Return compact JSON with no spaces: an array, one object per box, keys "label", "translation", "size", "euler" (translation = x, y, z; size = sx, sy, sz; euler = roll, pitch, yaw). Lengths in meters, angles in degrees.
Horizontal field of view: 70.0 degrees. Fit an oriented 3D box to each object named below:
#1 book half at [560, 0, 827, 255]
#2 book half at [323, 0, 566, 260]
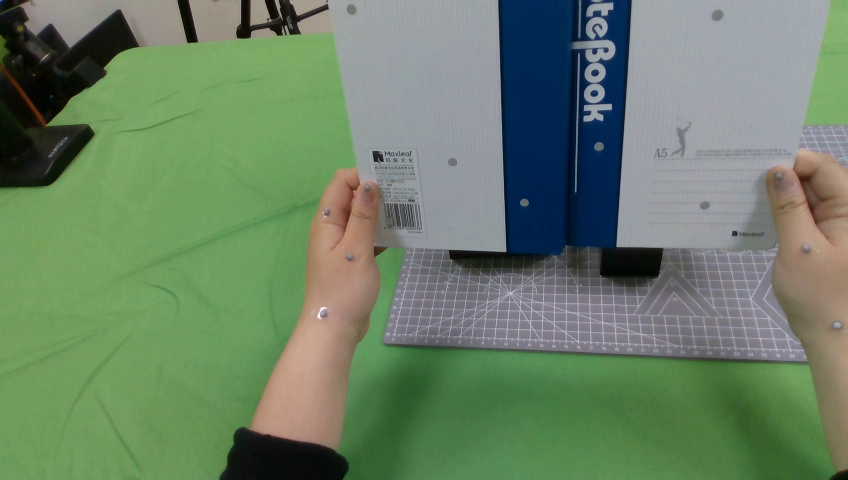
[{"label":"book half","translation":[0.158,-0.081,0.380],"size":[0.143,0.212,0.007],"euler":[1,32,14]},{"label":"book half","translation":[0.018,-0.081,0.405],"size":[0.148,0.212,0.016],"euler":[2,32,13]}]
